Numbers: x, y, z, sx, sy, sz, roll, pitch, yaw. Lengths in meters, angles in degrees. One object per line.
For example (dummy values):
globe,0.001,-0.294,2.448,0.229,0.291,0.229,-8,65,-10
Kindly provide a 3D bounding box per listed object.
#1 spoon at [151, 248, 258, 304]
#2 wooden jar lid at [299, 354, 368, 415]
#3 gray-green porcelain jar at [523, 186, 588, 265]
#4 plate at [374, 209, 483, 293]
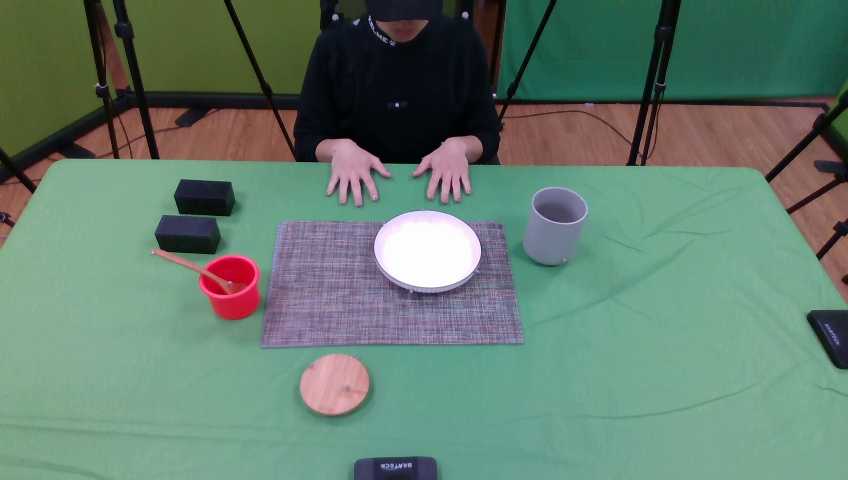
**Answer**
spoon,-0.369,0.058,1.028,0.195,0.021,0.041,36,35,-32
wooden jar lid,-0.143,0.232,0.964,0.108,0.021,0.107,2,45,-2
gray-green porcelain jar,0.249,-0.023,1.164,0.106,0.127,0.105,2,46,-2
plate,0.008,0.024,1.158,0.208,0.039,0.206,2,46,-2
